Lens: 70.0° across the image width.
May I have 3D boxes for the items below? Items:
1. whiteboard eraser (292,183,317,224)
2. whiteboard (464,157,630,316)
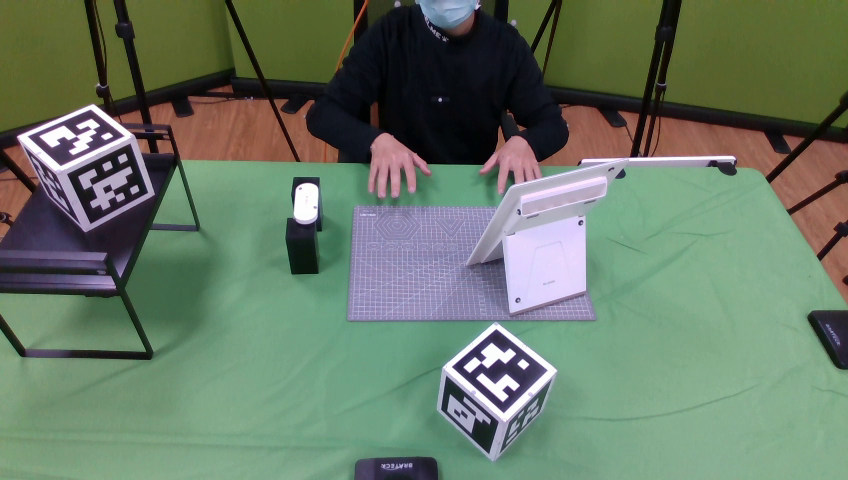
[{"bbox_3d":[-0.217,-0.068,1.108,0.041,0.019,0.100,-2,46,-4],"label":"whiteboard eraser"},{"bbox_3d":[0.224,0.014,1.043,0.217,0.306,0.143,-14,68,-17],"label":"whiteboard"}]
